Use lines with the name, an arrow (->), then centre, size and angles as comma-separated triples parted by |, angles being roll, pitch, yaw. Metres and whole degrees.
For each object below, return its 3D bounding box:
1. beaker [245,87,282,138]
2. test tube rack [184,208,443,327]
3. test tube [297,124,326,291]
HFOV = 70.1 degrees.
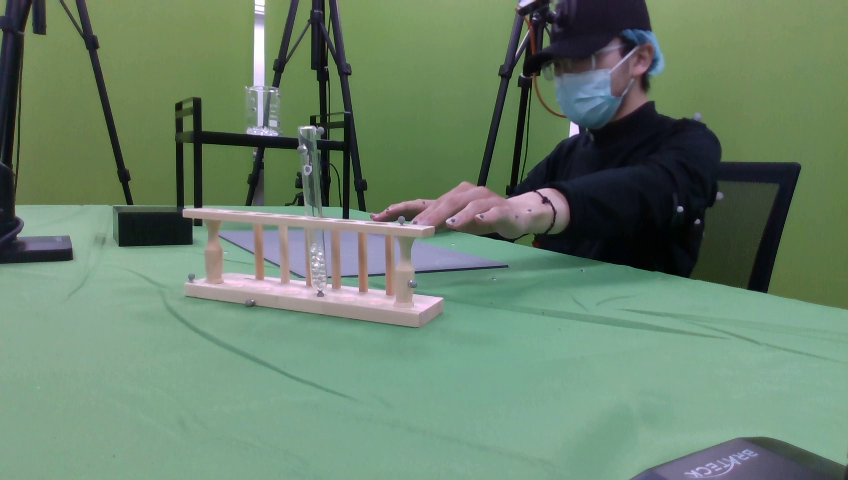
beaker -> -0.337, -0.266, 1.260 | 0.074, 0.100, 0.084 | 5, 8, 23
test tube rack -> -0.106, 0.019, 0.570 | 0.241, 0.085, 0.067 | 5, 7, 20
test tube -> -0.101, -0.028, 0.542 | 0.017, 0.150, 0.017 | -2, 10, 1
